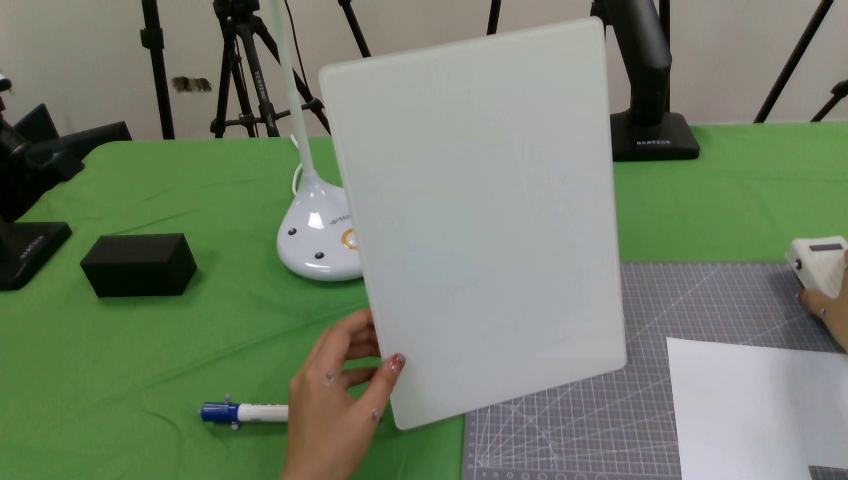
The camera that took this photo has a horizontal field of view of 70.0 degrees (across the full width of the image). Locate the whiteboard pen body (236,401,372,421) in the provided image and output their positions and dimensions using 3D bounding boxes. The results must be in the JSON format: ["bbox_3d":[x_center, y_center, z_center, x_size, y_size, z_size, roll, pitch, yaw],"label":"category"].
[{"bbox_3d":[-0.116,0.149,0.530,0.141,0.017,0.017,0,38,2],"label":"whiteboard pen body"}]

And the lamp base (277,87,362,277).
[{"bbox_3d":[-0.112,-0.075,0.691,0.160,0.182,0.177,-32,42,-30],"label":"lamp base"}]

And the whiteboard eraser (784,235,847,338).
[{"bbox_3d":[0.397,0.045,0.583,0.055,0.042,0.111,0,45,0],"label":"whiteboard eraser"}]

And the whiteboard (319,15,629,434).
[{"bbox_3d":[0.043,-0.021,0.546,0.217,0.307,0.142,-13,19,-8],"label":"whiteboard"}]

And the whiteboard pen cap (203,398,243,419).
[{"bbox_3d":[-0.175,0.149,0.533,0.033,0.018,0.018,2,38,-1],"label":"whiteboard pen cap"}]
